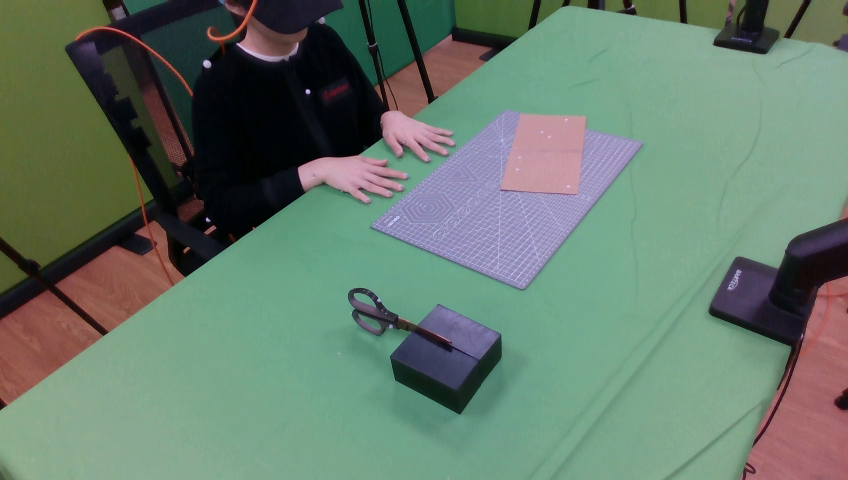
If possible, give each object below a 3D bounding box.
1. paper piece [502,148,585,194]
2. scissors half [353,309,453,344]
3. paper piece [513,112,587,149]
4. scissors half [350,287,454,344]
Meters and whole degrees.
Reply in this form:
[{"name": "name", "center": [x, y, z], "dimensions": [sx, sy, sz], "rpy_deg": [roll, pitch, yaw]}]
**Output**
[{"name": "paper piece", "center": [0.219, -0.128, 1.101], "dimensions": [0.135, 0.009, 0.138], "rpy_deg": [2, 42, 17]}, {"name": "scissors half", "center": [-0.030, 0.119, 0.806], "dimensions": [0.174, 0.040, 0.013], "rpy_deg": [6, 34, 40]}, {"name": "paper piece", "center": [0.252, -0.215, 1.196], "dimensions": [0.135, 0.004, 0.135], "rpy_deg": [6, 42, 14]}, {"name": "scissors half", "center": [-0.032, 0.101, 0.796], "dimensions": [0.174, 0.040, 0.013], "rpy_deg": [23, 39, 30]}]
